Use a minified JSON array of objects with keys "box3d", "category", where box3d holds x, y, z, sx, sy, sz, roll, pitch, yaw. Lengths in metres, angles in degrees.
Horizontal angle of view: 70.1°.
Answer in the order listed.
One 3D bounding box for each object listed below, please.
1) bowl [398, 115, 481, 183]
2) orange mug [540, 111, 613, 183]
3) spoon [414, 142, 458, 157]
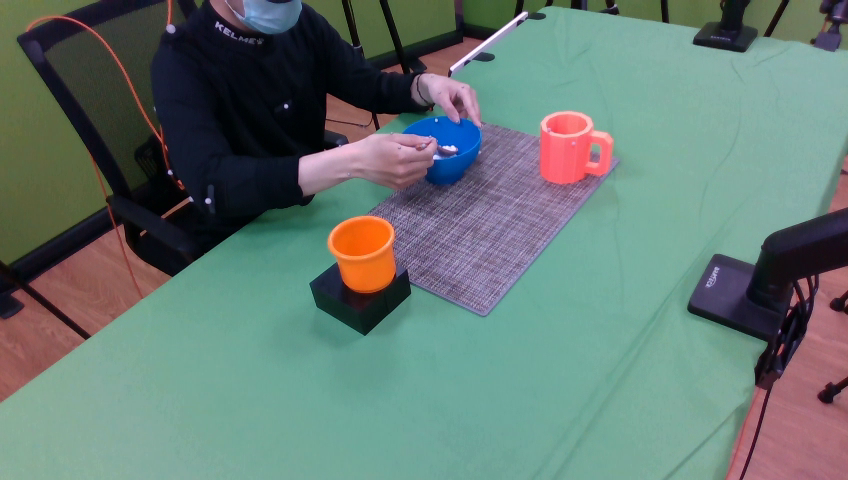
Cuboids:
[{"box3d":[0.031,-0.156,1.097,0.151,0.077,0.150,-4,41,4],"category":"bowl"},{"box3d":[0.263,-0.159,1.052,0.125,0.101,0.083,13,44,28],"category":"orange mug"},{"box3d":[0.017,-0.156,1.019,0.041,0.021,0.194,12,5,17],"category":"spoon"}]
